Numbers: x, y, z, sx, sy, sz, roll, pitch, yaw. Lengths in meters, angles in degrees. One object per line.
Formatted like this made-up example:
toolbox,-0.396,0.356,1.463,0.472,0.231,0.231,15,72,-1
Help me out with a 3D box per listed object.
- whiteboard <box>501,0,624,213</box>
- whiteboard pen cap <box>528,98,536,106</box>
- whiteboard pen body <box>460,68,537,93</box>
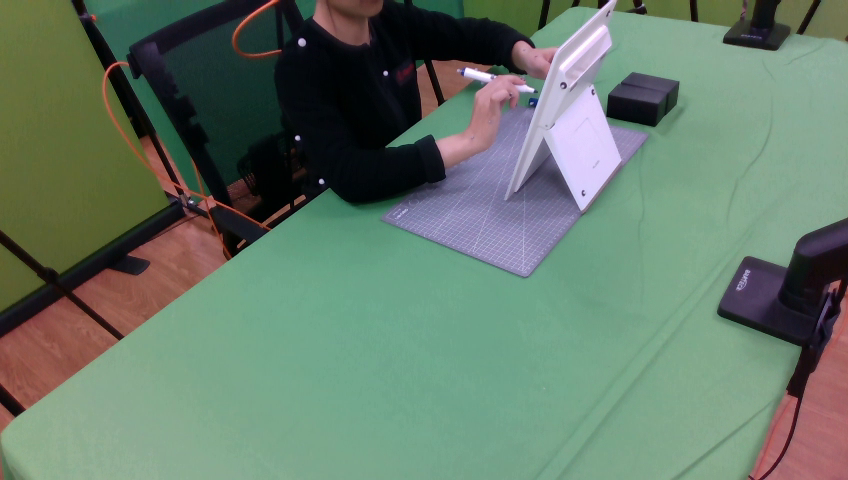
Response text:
whiteboard,0.271,-0.189,0.977,0.143,0.306,0.218,34,53,16
whiteboard pen cap,0.239,-0.293,1.288,0.033,0.018,0.018,22,50,35
whiteboard pen body,0.132,-0.279,1.066,0.141,0.017,0.017,16,44,3
